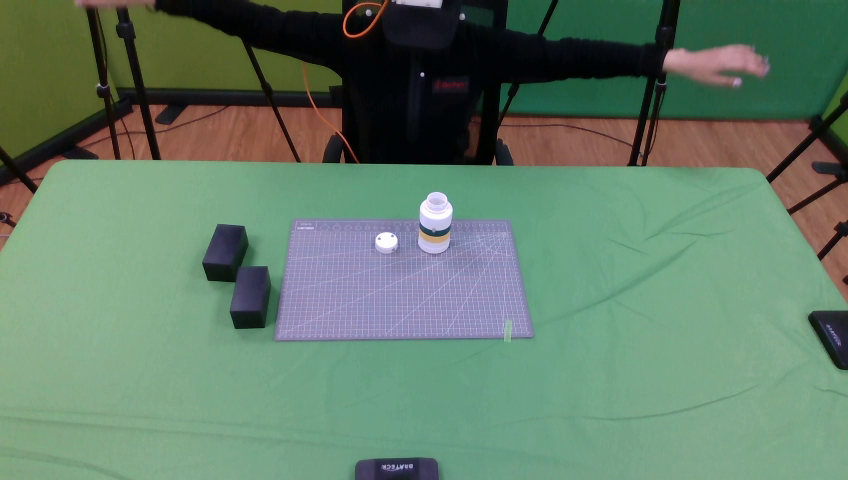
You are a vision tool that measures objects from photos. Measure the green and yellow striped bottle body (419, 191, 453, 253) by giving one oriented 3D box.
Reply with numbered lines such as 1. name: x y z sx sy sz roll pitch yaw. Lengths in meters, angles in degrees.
1. green and yellow striped bottle body: 0.023 -0.036 1.160 0.063 0.120 0.063 2 46 -2

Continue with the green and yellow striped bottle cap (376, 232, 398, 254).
1. green and yellow striped bottle cap: -0.073 0.006 1.187 0.045 0.020 0.045 2 44 -2
